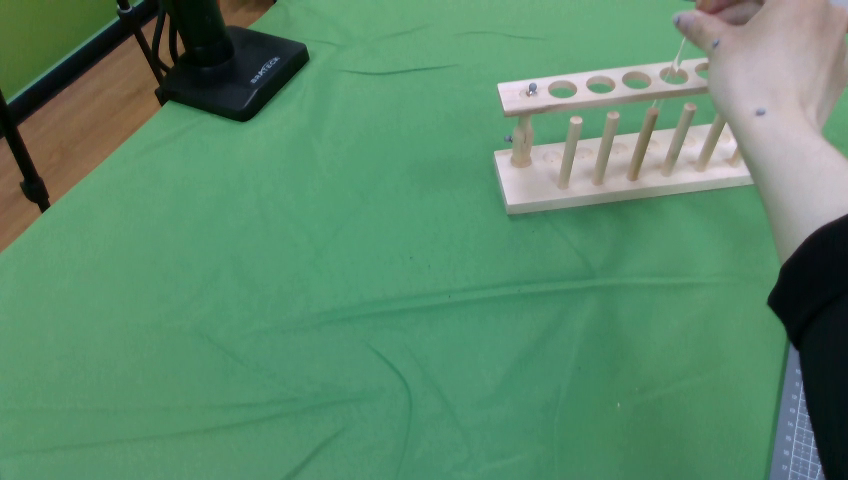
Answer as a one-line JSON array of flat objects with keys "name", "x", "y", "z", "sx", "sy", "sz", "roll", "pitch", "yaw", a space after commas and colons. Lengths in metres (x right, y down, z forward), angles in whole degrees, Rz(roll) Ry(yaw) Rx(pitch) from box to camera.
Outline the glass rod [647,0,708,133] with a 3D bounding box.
[{"name": "glass rod", "x": 0.193, "y": -0.150, "z": 0.441, "sx": 0.008, "sy": 0.201, "sz": 0.008, "roll": 2, "pitch": 51, "yaw": -3}]

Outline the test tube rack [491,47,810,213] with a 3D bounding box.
[{"name": "test tube rack", "x": 0.181, "y": -0.089, "z": 0.496, "sx": 0.242, "sy": 0.086, "sz": 0.066, "roll": -7, "pitch": 52, "yaw": -2}]
